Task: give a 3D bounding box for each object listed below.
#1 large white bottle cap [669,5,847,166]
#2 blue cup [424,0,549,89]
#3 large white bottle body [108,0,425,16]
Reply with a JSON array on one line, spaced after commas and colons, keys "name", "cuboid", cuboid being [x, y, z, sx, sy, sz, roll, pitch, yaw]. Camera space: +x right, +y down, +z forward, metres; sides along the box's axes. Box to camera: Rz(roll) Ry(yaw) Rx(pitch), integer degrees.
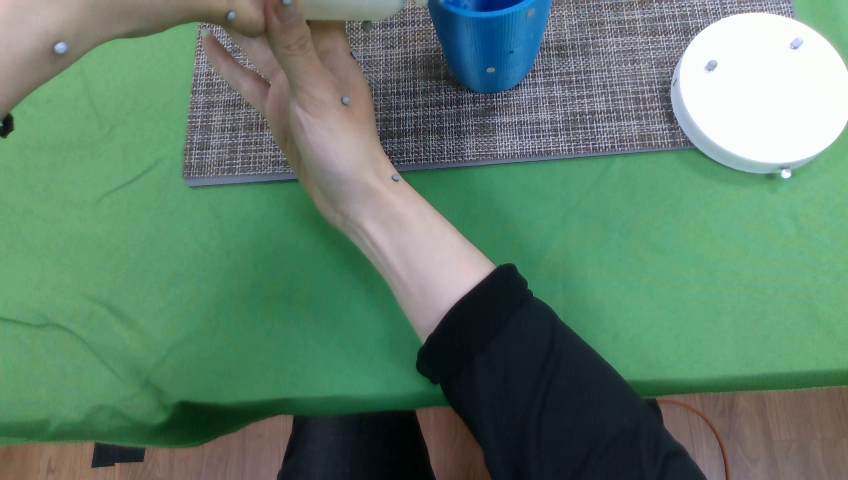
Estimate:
[{"name": "large white bottle cap", "cuboid": [0.228, -0.106, 0.413, 0.115, 0.018, 0.114, -1, 75, 2]}, {"name": "blue cup", "cuboid": [0.042, -0.153, 0.401, 0.092, 0.101, 0.092, -2, 72, 8]}, {"name": "large white bottle body", "cuboid": [-0.073, -0.182, 0.303, 0.184, 0.131, 0.130, 1, 72, 2]}]
